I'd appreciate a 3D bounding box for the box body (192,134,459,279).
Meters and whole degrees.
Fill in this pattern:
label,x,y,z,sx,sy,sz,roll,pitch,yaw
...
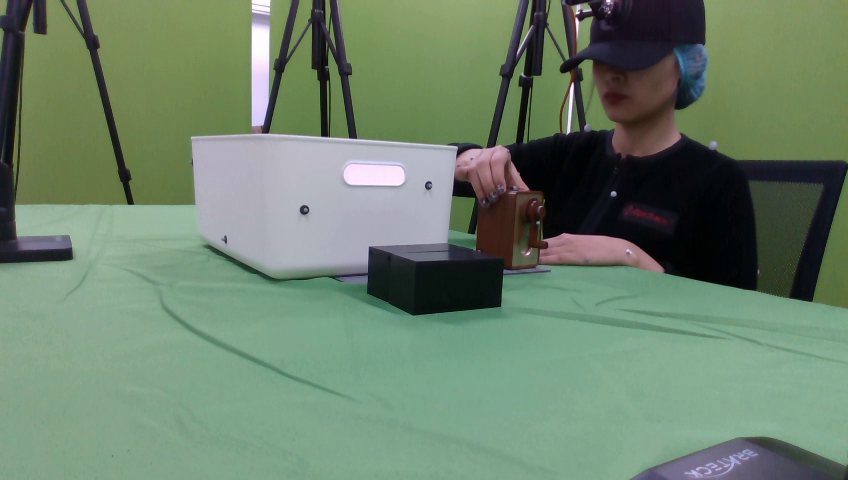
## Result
label,x,y,z,sx,sy,sz,roll,pitch,yaw
box body,-0.154,-0.059,0.840,0.255,0.160,0.362,-2,9,-33

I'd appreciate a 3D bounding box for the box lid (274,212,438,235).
label,x,y,z,sx,sy,sz,roll,pitch,yaw
box lid,-0.156,-0.036,1.283,0.264,0.015,0.370,-1,7,-25

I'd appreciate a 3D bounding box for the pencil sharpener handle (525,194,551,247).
label,x,y,z,sx,sy,sz,roll,pitch,yaw
pencil sharpener handle,0.153,-0.025,0.784,0.036,0.067,0.030,-1,8,-41

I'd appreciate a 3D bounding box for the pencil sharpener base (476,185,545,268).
label,x,y,z,sx,sy,sz,roll,pitch,yaw
pencil sharpener base,0.119,-0.019,0.825,0.062,0.107,0.076,-3,10,-40
